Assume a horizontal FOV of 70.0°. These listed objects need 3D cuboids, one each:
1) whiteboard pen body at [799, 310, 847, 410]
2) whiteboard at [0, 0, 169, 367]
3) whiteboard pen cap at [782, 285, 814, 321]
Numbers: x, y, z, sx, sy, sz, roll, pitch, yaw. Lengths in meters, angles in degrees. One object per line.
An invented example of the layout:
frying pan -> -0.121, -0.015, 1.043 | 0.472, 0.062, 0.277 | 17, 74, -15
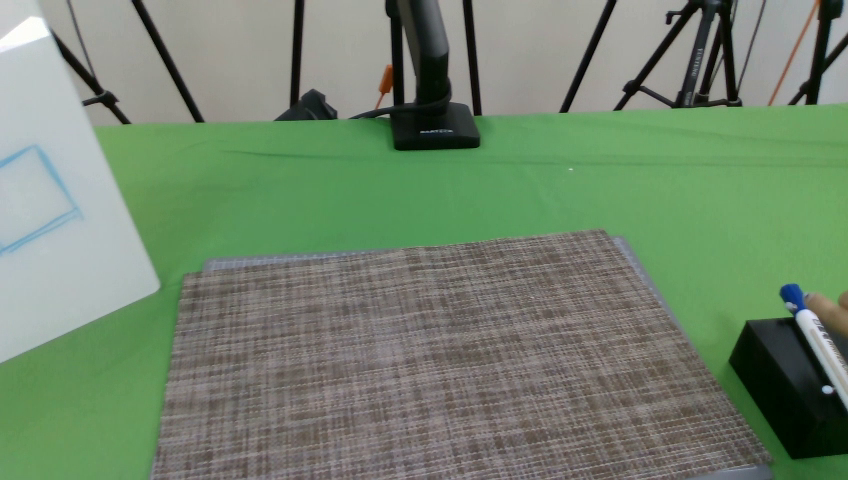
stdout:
whiteboard pen body -> 0.313, 0.091, 0.463 | 0.017, 0.017, 0.139 | 4, 38, 3
whiteboard -> -0.400, -0.058, 0.521 | 0.217, 0.307, 0.142 | -28, 27, -32
whiteboard pen cap -> 0.317, 0.055, 0.512 | 0.018, 0.018, 0.033 | 3, 39, 3
